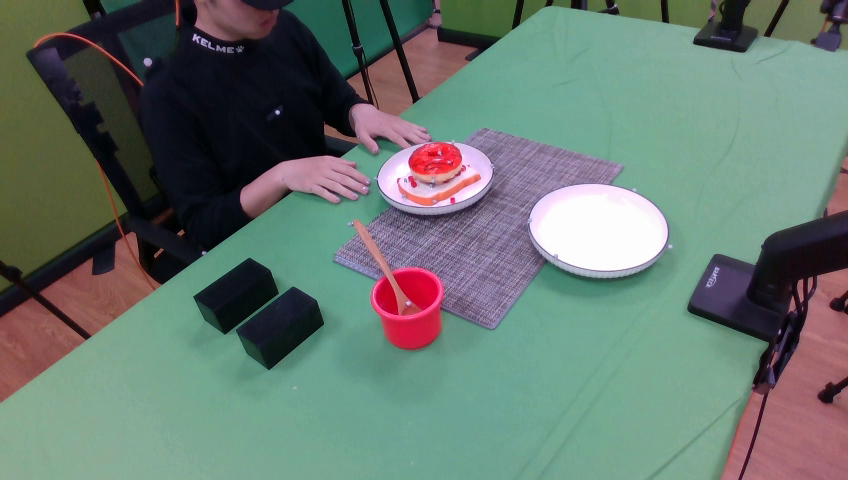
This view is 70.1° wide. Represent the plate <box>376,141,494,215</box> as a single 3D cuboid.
[{"bbox_3d":[0.021,-0.106,1.073,0.209,0.038,0.208,-4,40,4],"label":"plate"}]

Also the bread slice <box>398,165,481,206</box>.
[{"bbox_3d":[0.021,-0.107,1.077,0.132,0.019,0.104,-32,46,-28],"label":"bread slice"}]

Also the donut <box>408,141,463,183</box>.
[{"bbox_3d":[0.020,-0.138,1.058,0.099,0.048,0.098,-4,39,4],"label":"donut"}]

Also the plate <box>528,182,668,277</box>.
[{"bbox_3d":[0.264,-0.014,0.933,0.207,0.039,0.206,-3,42,3],"label":"plate"}]

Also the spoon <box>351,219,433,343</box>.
[{"bbox_3d":[-0.045,0.054,0.820,0.042,0.021,0.193,-28,89,-21],"label":"spoon"}]
